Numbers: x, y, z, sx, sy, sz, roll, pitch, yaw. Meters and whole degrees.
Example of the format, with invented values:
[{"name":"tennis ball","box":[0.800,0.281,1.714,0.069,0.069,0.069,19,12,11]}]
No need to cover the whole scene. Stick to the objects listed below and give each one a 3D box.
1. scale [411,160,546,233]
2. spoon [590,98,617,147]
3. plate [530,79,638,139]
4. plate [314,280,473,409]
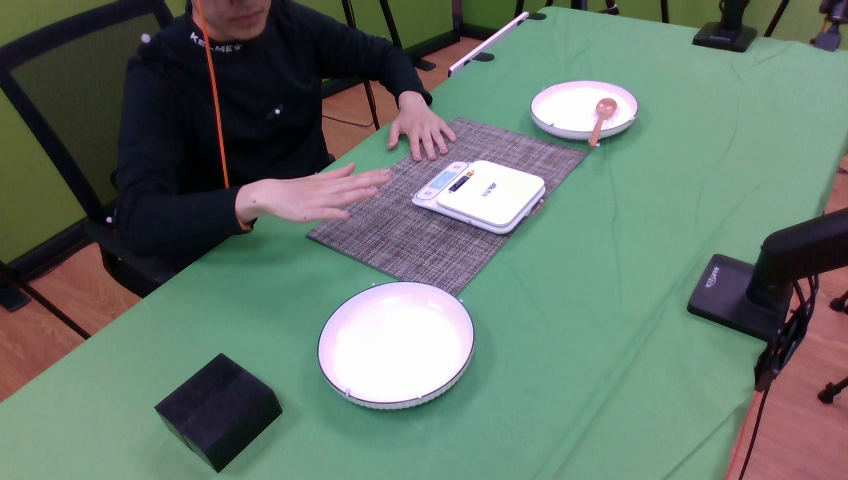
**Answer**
[{"name":"scale","box":[0.092,-0.083,1.039,0.199,0.032,0.149,22,48,30]},{"name":"spoon","box":[0.334,-0.225,1.145,0.041,0.022,0.194,11,37,20]},{"name":"plate","box":[0.317,-0.257,1.210,0.209,0.038,0.208,-4,41,4]},{"name":"plate","box":[-0.039,0.139,0.801,0.207,0.039,0.206,-4,41,4]}]
